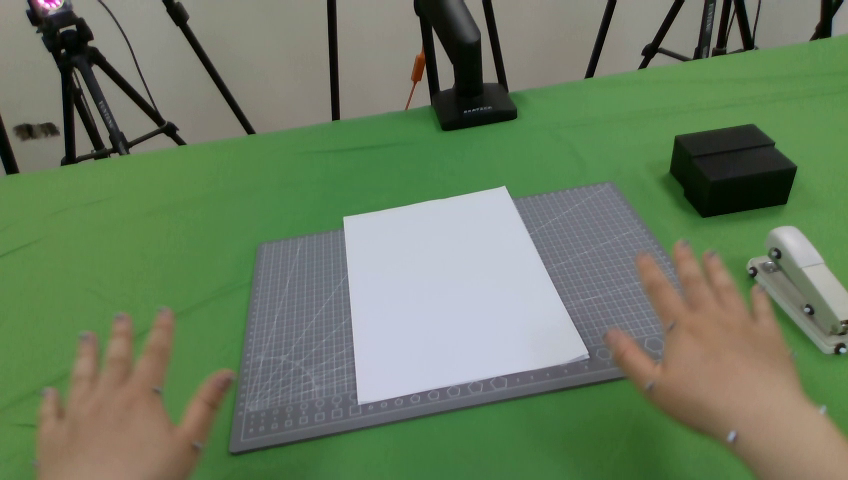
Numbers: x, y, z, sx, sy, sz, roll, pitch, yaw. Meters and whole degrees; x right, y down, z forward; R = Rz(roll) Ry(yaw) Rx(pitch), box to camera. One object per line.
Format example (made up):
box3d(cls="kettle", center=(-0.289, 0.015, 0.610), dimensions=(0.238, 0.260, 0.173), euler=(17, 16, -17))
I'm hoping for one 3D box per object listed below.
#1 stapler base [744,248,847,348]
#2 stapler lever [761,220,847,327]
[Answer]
box3d(cls="stapler base", center=(0.355, 0.044, 0.569), dimensions=(0.041, 0.025, 0.129), euler=(-13, 40, -3))
box3d(cls="stapler lever", center=(0.353, 0.026, 0.553), dimensions=(0.027, 0.040, 0.117), euler=(-13, 39, -3))
